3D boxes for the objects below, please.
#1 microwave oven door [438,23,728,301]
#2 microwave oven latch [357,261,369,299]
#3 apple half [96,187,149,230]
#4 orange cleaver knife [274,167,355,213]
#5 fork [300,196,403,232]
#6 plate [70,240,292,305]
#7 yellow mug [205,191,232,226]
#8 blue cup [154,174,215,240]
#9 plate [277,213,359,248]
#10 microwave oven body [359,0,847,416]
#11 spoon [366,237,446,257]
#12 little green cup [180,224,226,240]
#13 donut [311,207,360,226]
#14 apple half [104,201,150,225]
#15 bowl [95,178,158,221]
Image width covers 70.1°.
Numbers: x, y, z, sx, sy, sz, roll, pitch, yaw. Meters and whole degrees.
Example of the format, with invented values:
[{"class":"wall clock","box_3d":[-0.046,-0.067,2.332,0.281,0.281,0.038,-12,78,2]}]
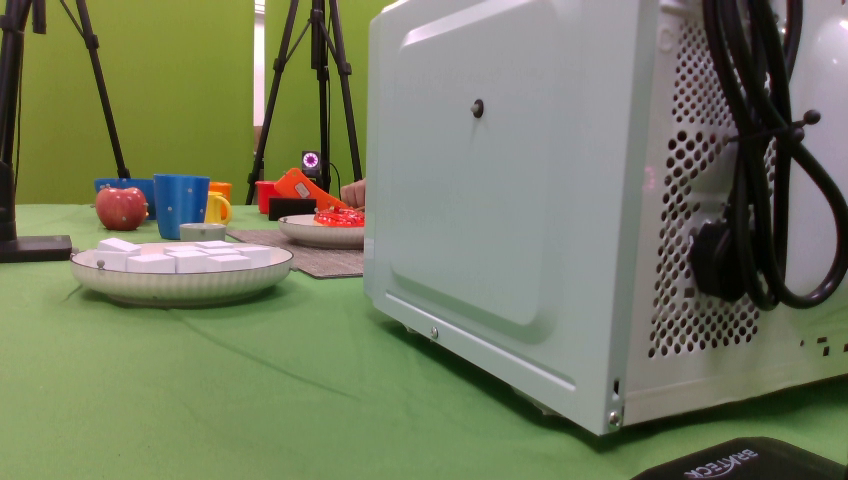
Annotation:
[{"class":"microwave oven door","box_3d":[0.181,-0.072,0.621,0.358,0.243,0.039,-2,8,-29]},{"class":"microwave oven latch","box_3d":[-0.019,0.033,0.530,0.079,0.029,0.030,0,7,-25]},{"class":"apple half","box_3d":[-0.516,-0.052,1.036,0.081,0.074,0.053,3,11,-26]},{"class":"orange cleaver knife","box_3d":[-0.238,-0.091,1.381,0.212,0.077,0.012,31,0,-19]},{"class":"fork","box_3d":[-0.131,-0.050,1.129,0.208,0.018,0.028,-24,18,-22]},{"class":"plate","box_3d":[-0.242,0.031,0.618,0.208,0.039,0.207,2,8,0]},{"class":"yellow mug","box_3d":[-0.415,-0.057,1.131,0.130,0.064,0.100,6,8,16]},{"class":"blue cup","box_3d":[-0.391,-0.053,0.978,0.093,0.100,0.092,4,6,0]},{"class":"plate","box_3d":[-0.135,-0.017,0.992,0.209,0.038,0.209,3,8,0]},{"class":"microwave oven body","box_3d":[0.211,-0.047,0.474,0.444,0.260,0.324,-1,7,-28]},{"class":"spoon","box_3d":[-0.018,0.005,0.903,0.041,0.021,0.194,-39,-15,29]},{"class":"little green cup","box_3d":[-0.309,-0.001,0.846,0.061,0.038,0.061,2,8,0]},{"class":"donut","box_3d":[-0.137,-0.029,0.995,0.099,0.048,0.099,4,9,0]},{"class":"apple half","box_3d":[-0.548,-0.044,1.115,0.081,0.033,0.081,18,6,-2]},{"class":"bowl","box_3d":[-0.576,-0.081,1.217,0.151,0.077,0.151,4,8,0]}]
